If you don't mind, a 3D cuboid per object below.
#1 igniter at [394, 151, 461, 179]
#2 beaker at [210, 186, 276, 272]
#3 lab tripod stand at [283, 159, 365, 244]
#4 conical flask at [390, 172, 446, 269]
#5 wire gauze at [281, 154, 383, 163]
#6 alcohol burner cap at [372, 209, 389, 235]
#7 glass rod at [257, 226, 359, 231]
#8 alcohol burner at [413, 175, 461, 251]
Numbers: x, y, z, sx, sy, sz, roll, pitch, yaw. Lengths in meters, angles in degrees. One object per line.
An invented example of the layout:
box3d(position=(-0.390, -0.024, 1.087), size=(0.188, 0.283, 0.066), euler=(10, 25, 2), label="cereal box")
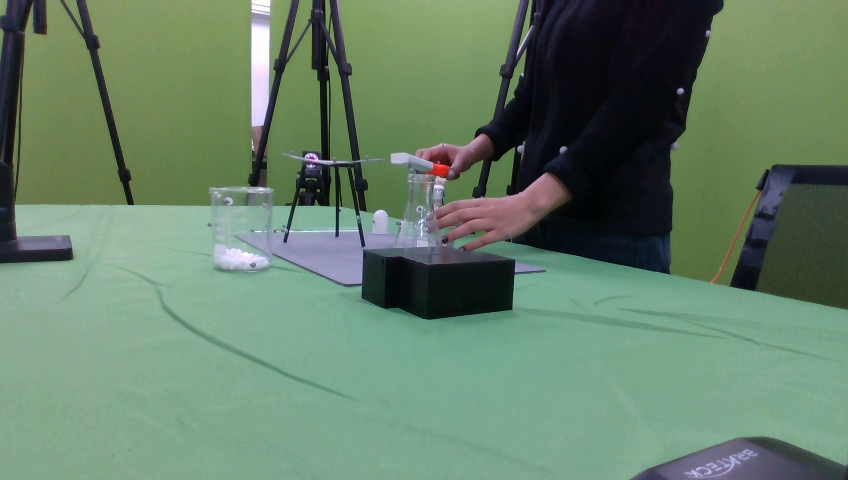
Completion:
box3d(position=(0.013, -0.139, 1.139), size=(0.057, 0.025, 0.277), euler=(-1, 0, 21), label="igniter")
box3d(position=(-0.224, -0.014, 0.738), size=(0.084, 0.100, 0.074), euler=(4, 7, 16), label="beaker")
box3d(position=(-0.151, -0.063, 0.983), size=(0.148, 0.131, 0.148), euler=(4, 7, 0), label="lab tripod stand")
box3d(position=(-0.006, -0.027, 0.790), size=(0.075, 0.122, 0.075), euler=(2, 7, 0), label="conical flask")
box3d(position=(-0.146, -0.130, 0.977), size=(0.124, 0.011, 0.122), euler=(9, 10, 41), label="wire gauze")
box3d(position=(-0.082, -0.035, 1.143), size=(0.034, 0.048, 0.034), euler=(2, 6, 0), label="alcohol burner cap")
box3d(position=(-0.215, -0.022, 1.151), size=(0.201, 0.008, 0.008), euler=(-2, 8, -28), label="glass rod")
box3d(position=(0.021, -0.043, 0.957), size=(0.078, 0.119, 0.078), euler=(1, 6, 0), label="alcohol burner")
